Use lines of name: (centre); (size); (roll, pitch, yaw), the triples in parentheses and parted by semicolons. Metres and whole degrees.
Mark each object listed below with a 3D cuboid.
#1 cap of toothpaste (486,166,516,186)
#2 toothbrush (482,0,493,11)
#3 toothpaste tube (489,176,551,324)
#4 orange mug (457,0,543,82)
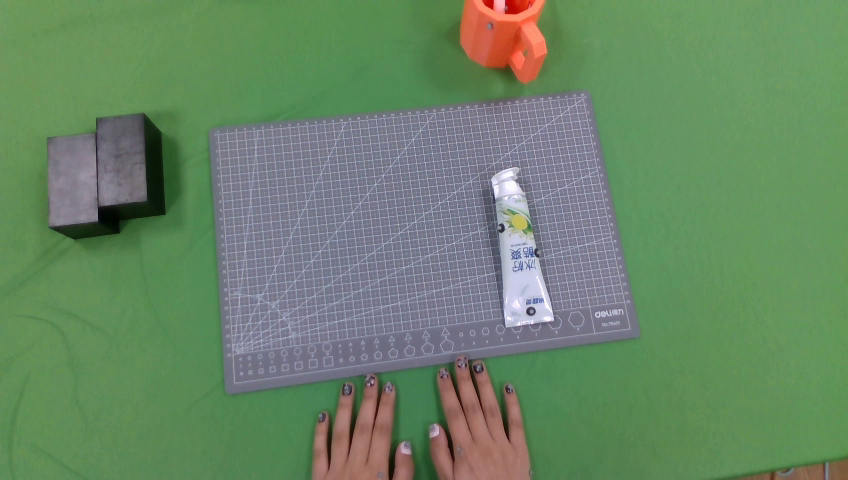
cap of toothpaste: (0.088, -0.072, 0.684); (0.037, 0.037, 0.011); (-20, 76, -8)
toothbrush: (0.074, -0.292, 0.663); (0.014, 0.183, 0.016); (-16, 42, -23)
toothpaste tube: (0.100, 0.008, 0.673); (0.055, 0.034, 0.164); (-10, 82, 2)
orange mug: (0.093, -0.249, 0.696); (0.083, 0.101, 0.125); (-28, 76, -9)
